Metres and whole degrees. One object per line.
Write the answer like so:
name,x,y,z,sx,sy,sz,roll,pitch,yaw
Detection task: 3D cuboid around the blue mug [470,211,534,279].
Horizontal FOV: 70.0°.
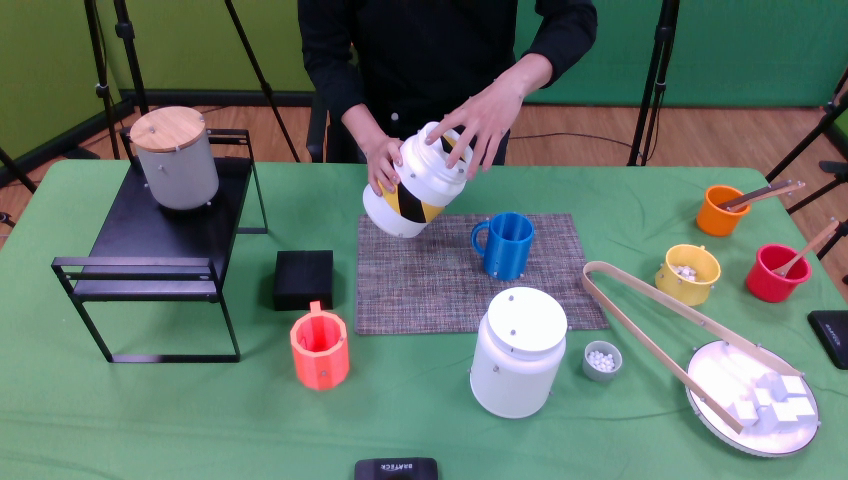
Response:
blue mug,0.141,0.005,1.140,0.116,0.106,0.082,18,48,13

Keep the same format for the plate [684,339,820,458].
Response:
plate,0.523,0.256,0.982,0.208,0.039,0.206,2,46,-2

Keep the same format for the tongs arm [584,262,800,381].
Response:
tongs arm,0.451,0.137,1.063,0.051,0.027,0.382,-34,50,-27

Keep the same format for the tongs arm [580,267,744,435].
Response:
tongs arm,0.384,0.174,1.028,0.028,0.028,0.385,-25,46,-15

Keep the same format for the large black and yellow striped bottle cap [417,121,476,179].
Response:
large black and yellow striped bottle cap,0.039,-0.153,1.018,0.115,0.019,0.114,30,37,-26

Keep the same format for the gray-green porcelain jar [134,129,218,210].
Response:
gray-green porcelain jar,-0.388,-0.120,0.960,0.106,0.127,0.105,2,46,-2

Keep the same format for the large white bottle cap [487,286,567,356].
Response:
large white bottle cap,0.147,0.114,0.869,0.115,0.018,0.114,3,46,-3

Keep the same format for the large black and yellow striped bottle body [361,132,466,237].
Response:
large black and yellow striped bottle body,-0.011,-0.104,1.068,0.131,0.184,0.130,27,40,-25

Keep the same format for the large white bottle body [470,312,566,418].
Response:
large white bottle body,0.143,0.174,0.930,0.131,0.185,0.130,2,46,-2

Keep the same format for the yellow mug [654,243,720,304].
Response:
yellow mug,0.504,0.054,1.154,0.099,0.064,0.130,29,50,22

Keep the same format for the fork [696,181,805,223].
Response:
fork,0.659,-0.077,1.231,0.207,0.019,0.028,-26,35,34

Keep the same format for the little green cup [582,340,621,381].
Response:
little green cup,0.295,0.204,1.014,0.061,0.039,0.061,2,45,-2

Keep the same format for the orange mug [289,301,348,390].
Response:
orange mug,-0.170,0.162,0.976,0.083,0.101,0.125,-8,52,-11

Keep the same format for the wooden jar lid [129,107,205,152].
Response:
wooden jar lid,-0.385,-0.163,0.915,0.108,0.021,0.107,2,47,-2

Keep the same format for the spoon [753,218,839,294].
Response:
spoon,0.700,0.031,1.138,0.194,0.022,0.041,-47,55,14

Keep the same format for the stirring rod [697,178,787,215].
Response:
stirring rod,0.650,-0.088,1.246,0.006,0.176,0.014,29,50,-39
